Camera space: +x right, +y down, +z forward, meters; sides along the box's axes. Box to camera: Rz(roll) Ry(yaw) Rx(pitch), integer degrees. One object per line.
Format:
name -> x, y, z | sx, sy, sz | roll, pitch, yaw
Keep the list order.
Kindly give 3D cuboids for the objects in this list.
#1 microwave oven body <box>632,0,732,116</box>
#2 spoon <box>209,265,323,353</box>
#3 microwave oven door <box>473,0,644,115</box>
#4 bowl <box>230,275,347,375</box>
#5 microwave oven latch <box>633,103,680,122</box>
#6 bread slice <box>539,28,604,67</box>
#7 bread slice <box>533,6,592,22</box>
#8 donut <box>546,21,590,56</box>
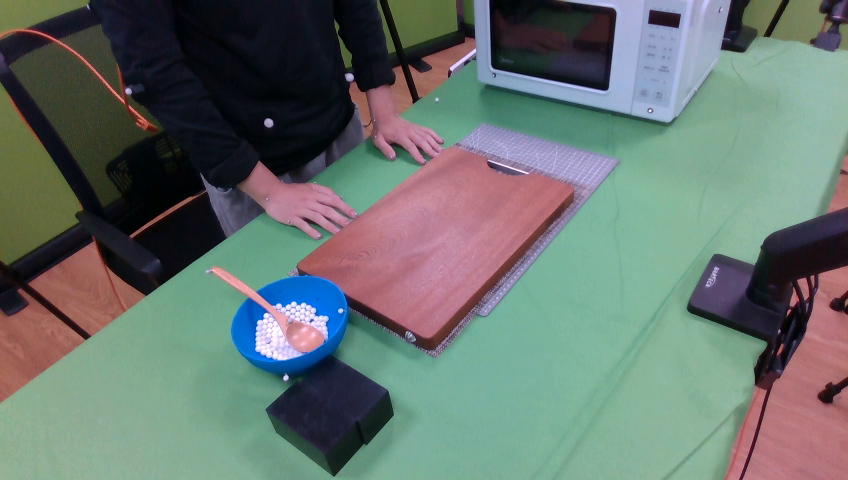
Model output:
microwave oven body -> 0.377, -0.462, 1.267 | 0.438, 0.261, 0.327 | 21, 48, 30
spoon -> -0.213, 0.087, 0.806 | 0.193, 0.021, 0.042 | 37, 57, 11
microwave oven door -> 0.257, -0.396, 1.199 | 0.353, 0.245, 0.039 | 21, 48, 29
bowl -> -0.171, 0.125, 0.802 | 0.151, 0.077, 0.150 | -4, 40, 4
microwave oven latch -> 0.443, -0.249, 1.157 | 0.078, 0.029, 0.030 | 20, 48, 30
bread slice -> 0.331, -0.430, 1.340 | 0.104, 0.019, 0.132 | 23, 60, 41
bread slice -> 0.297, -0.479, 1.278 | 0.106, 0.018, 0.134 | 7, 29, 21
donut -> 0.309, -0.434, 1.298 | 0.099, 0.048, 0.098 | -22, 34, 16
